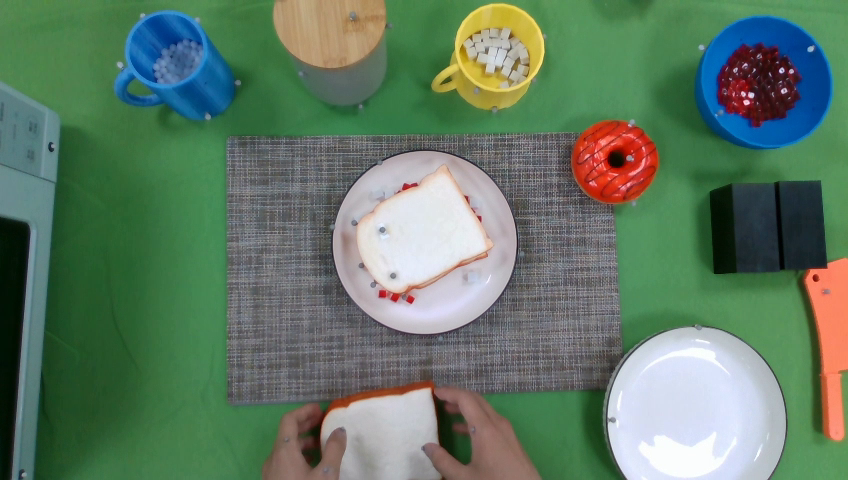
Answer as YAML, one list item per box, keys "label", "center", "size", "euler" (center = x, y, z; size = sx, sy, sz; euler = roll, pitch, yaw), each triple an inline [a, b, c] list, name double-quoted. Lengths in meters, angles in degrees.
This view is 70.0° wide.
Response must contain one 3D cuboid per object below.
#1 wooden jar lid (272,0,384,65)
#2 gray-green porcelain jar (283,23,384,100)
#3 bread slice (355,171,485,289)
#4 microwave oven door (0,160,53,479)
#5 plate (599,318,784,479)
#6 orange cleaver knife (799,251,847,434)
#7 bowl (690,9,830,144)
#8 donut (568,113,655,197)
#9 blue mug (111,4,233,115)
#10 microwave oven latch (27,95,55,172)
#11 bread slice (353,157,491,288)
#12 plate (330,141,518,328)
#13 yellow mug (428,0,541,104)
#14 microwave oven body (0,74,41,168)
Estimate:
- label: "wooden jar lid"
  center: [-0.093, -0.221, 0.591]
  size: [0.108, 0.021, 0.108]
  euler: [0, 84, -2]
- label: "gray-green porcelain jar"
  center: [-0.096, -0.215, 0.653]
  size: [0.106, 0.126, 0.105]
  euler: [0, 85, -3]
- label: "bread slice"
  center: [-0.009, -0.004, 0.685]
  size: [0.131, 0.019, 0.105]
  euler: [-29, 89, -6]
- label: "microwave oven door"
  center: [-0.423, 0.095, 0.537]
  size: [0.039, 0.244, 0.355]
  euler: [1, 85, -2]
- label: "plate"
  center: [0.298, 0.192, 0.687]
  size: [0.209, 0.038, 0.208]
  euler: [0, 86, -3]
- label: "orange cleaver knife"
  center: [0.484, 0.118, 0.712]
  size: [0.077, 0.012, 0.210]
  euler: [0, 84, -10]
- label: "bowl"
  center: [0.370, -0.177, 0.698]
  size: [0.151, 0.077, 0.151]
  euler: [0, 86, -2]
- label: "donut"
  center: [0.215, -0.098, 0.698]
  size: [0.099, 0.048, 0.099]
  euler: [0, 86, -3]
- label: "blue mug"
  center: [-0.275, -0.183, 0.651]
  size: [0.116, 0.106, 0.082]
  euler: [-27, 87, -4]
- label: "microwave oven latch"
  center: [-0.420, -0.115, 0.654]
  size: [0.030, 0.029, 0.079]
  euler: [5, 86, -3]
- label: "bread slice"
  center: [-0.008, -0.010, 0.657]
  size: [0.134, 0.018, 0.106]
  euler: [-33, 85, -6]
- label: "plate"
  center: [0.000, -0.006, 0.683]
  size: [0.208, 0.039, 0.207]
  euler: [0, 86, -3]
- label: "yellow mug"
  center: [0.064, -0.207, 0.691]
  size: [0.131, 0.064, 0.100]
  euler: [-25, 88, -4]
- label: "microwave oven body"
  center: [-0.569, 0.048, 0.537]
  size: [0.326, 0.260, 0.440]
  euler: [2, 86, -3]
